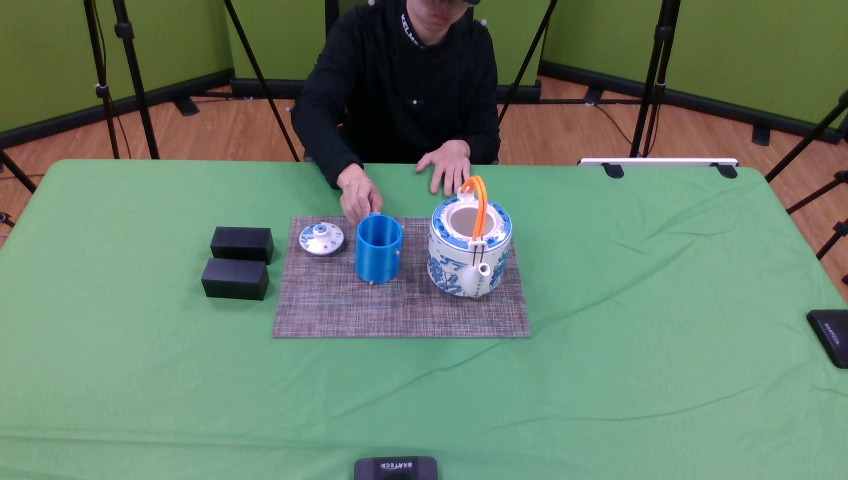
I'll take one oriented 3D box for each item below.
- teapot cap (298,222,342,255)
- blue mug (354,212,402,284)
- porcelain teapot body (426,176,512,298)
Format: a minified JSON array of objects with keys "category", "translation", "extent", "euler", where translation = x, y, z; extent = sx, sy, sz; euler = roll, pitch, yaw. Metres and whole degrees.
[{"category":"teapot cap","translation":[-0.201,-0.008,1.171],"extent":[0.085,0.044,0.084],"euler":[1,47,-1]},{"category":"blue mug","translation":[-0.090,0.005,1.120],"extent":[0.082,0.106,0.115],"euler":[-8,51,-15]},{"category":"porcelain teapot body","translation":[0.085,0.009,1.051],"extent":[0.145,0.226,0.204],"euler":[-5,47,-9]}]
